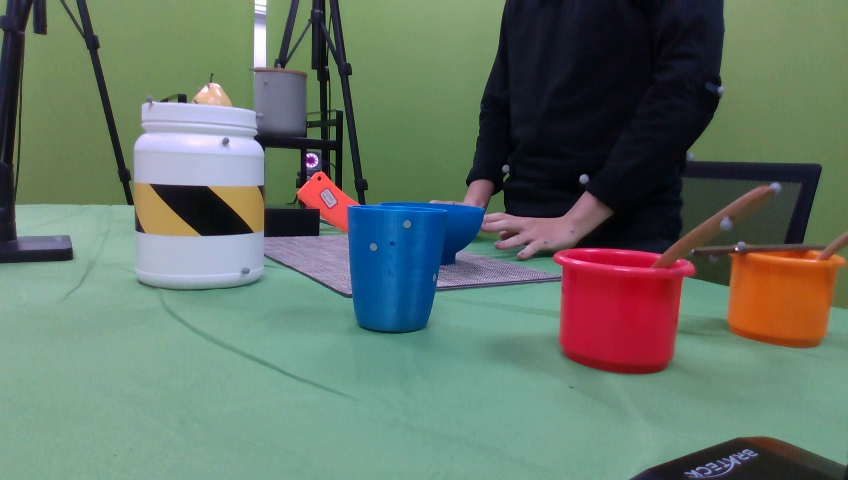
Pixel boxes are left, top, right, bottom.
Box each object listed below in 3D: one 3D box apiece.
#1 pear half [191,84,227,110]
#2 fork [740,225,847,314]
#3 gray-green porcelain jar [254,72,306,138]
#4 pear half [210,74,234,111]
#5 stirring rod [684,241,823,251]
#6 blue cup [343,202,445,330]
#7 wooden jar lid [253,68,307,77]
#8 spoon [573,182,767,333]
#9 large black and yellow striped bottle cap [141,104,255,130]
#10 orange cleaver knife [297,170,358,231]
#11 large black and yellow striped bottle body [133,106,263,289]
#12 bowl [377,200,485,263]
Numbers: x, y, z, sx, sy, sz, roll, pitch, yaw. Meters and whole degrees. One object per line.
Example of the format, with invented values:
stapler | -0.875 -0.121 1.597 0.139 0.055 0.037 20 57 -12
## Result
pear half | -0.405 -0.248 1.129 0.070 0.088 0.031 6 6 2
fork | 0.323 0.013 0.485 0.028 0.018 0.207 8 -38 -5
gray-green porcelain jar | -0.299 -0.277 1.257 0.106 0.126 0.106 2 8 0
pear half | -0.401 -0.262 1.162 0.076 0.109 0.056 7 7 2
stirring rod | 0.289 0.005 0.525 0.177 0.006 0.014 -1 5 -26
blue cup | -0.027 0.021 0.510 0.093 0.100 0.092 3 5 0
wooden jar lid | -0.296 -0.339 1.250 0.108 0.020 0.108 3 10 0
spoon | 0.158 0.020 0.412 0.042 0.021 0.193 -2 -35 -21
large black and yellow striped bottle cap | -0.241 -0.131 0.650 0.115 0.019 0.115 3 8 0
orange cleaver knife | -0.150 -0.058 1.170 0.212 0.077 0.012 33 -15 -32
large black and yellow striped bottle body | -0.243 -0.048 0.659 0.131 0.184 0.130 2 7 0
bowl | 0.008 -0.012 0.842 0.151 0.077 0.151 2 7 0
